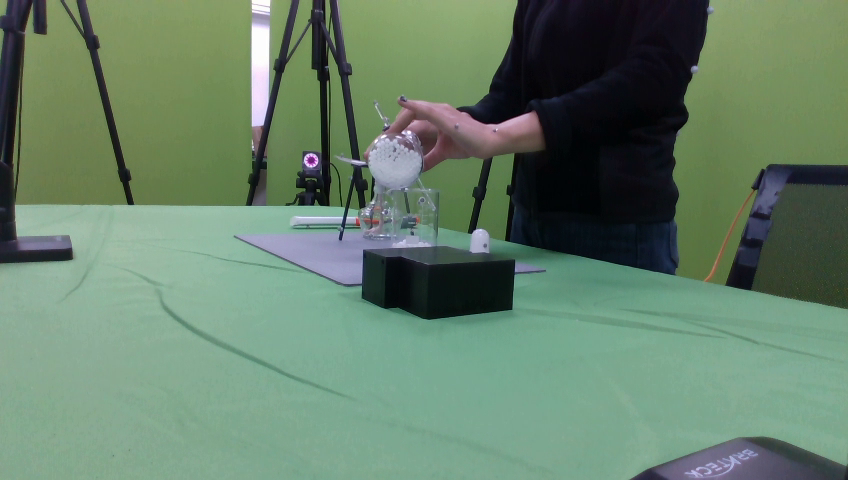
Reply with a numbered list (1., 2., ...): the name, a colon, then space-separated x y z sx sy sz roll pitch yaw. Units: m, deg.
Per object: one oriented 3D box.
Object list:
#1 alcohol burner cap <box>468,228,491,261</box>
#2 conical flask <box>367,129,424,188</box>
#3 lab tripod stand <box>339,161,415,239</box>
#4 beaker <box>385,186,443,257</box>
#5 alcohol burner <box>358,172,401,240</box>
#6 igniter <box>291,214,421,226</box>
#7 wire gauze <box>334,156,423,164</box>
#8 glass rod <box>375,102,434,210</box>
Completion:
1. alcohol burner cap: 0.082 0.006 0.878 0.034 0.048 0.034 3 6 0
2. conical flask: -0.031 -0.123 0.831 0.075 0.075 0.122 3 22 6
3. lab tripod stand: -0.082 -0.070 1.059 0.148 0.131 0.148 4 6 0
4. beaker: -0.015 -0.028 0.886 0.084 0.100 0.074 1 7 -9
5. alcohol burner: -0.077 -0.061 1.065 0.078 0.119 0.078 4 9 0
6. igniter: -0.135 -0.041 1.250 0.278 0.025 0.057 -1 -3 -28
7. wire gauze: -0.081 -0.137 1.051 0.122 0.011 0.124 0 8 -30
8. glass rod: -0.030 -0.128 0.901 0.008 0.199 0.008 -25 -18 -8
